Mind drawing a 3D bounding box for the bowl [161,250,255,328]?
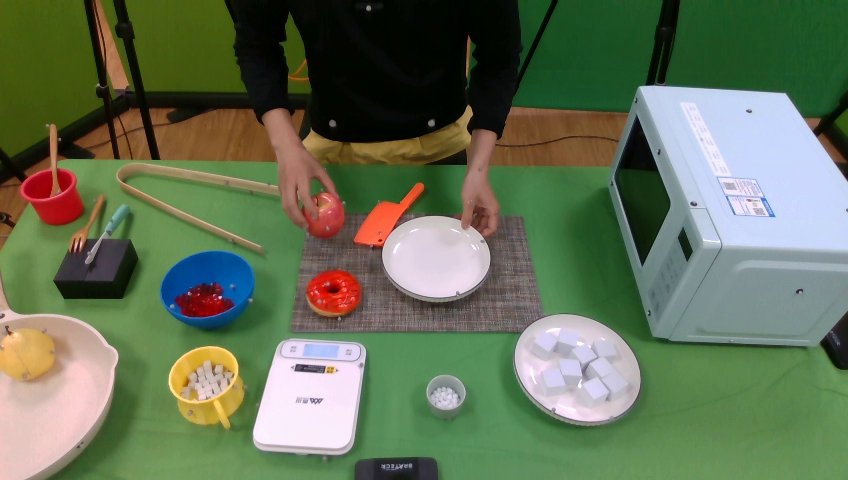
[{"bbox_3d":[-0.362,0.098,1.039,0.151,0.077,0.150,2,45,-2],"label":"bowl"}]

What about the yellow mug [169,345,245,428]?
[{"bbox_3d":[-0.322,0.230,0.922,0.100,0.064,0.130,-24,53,-25],"label":"yellow mug"}]

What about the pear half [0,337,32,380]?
[{"bbox_3d":[-0.631,0.184,0.921,0.070,0.088,0.031,29,49,19],"label":"pear half"}]

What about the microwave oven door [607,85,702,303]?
[{"bbox_3d":[0.423,-0.094,1.140,0.039,0.245,0.353,2,46,-1],"label":"microwave oven door"}]

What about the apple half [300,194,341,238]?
[{"bbox_3d":[-0.197,-0.037,1.113,0.080,0.075,0.053,35,59,24],"label":"apple half"}]

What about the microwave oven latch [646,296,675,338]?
[{"bbox_3d":[0.412,0.134,1.061,0.030,0.029,0.078,4,45,1],"label":"microwave oven latch"}]

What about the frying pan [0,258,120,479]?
[{"bbox_3d":[-0.647,0.164,0.936,0.307,0.103,0.485,-19,58,-22],"label":"frying pan"}]

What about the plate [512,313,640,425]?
[{"bbox_3d":[0.246,0.213,0.999,0.208,0.039,0.206,2,46,-2],"label":"plate"}]

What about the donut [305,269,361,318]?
[{"bbox_3d":[-0.160,0.094,1.075,0.099,0.048,0.098,4,45,-3],"label":"donut"}]

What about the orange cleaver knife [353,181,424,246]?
[{"bbox_3d":[-0.070,-0.059,1.245,0.077,0.012,0.210,17,50,22],"label":"orange cleaver knife"}]

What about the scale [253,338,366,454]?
[{"bbox_3d":[-0.175,0.236,0.951,0.149,0.032,0.199,4,45,-1],"label":"scale"}]

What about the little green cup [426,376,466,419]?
[{"bbox_3d":[0.033,0.248,0.950,0.061,0.039,0.061,2,46,-2],"label":"little green cup"}]

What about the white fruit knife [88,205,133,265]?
[{"bbox_3d":[-0.584,-0.013,1.129,0.016,0.027,0.206,0,32,-5],"label":"white fruit knife"}]

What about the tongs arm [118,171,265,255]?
[{"bbox_3d":[-0.473,-0.054,1.212,0.386,0.028,0.028,24,57,17],"label":"tongs arm"}]

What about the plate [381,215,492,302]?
[{"bbox_3d":[0.022,0.037,1.137,0.209,0.038,0.208,2,47,-2],"label":"plate"}]

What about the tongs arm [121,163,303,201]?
[{"bbox_3d":[-0.444,-0.114,1.267,0.384,0.026,0.050,12,51,7],"label":"tongs arm"}]

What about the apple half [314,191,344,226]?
[{"bbox_3d":[-0.171,-0.060,1.133,0.081,0.082,0.033,35,61,26],"label":"apple half"}]

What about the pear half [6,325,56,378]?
[{"bbox_3d":[-0.608,0.158,0.935,0.076,0.110,0.056,31,51,20],"label":"pear half"}]

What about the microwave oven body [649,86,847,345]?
[{"bbox_3d":[0.568,-0.053,1.118,0.326,0.261,0.439,2,45,-1],"label":"microwave oven body"}]

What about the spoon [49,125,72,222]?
[{"bbox_3d":[-0.718,-0.131,1.189,0.041,0.021,0.193,-4,90,-6],"label":"spoon"}]

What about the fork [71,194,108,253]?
[{"bbox_3d":[-0.634,-0.036,1.158,0.028,0.019,0.206,-8,32,-8],"label":"fork"}]
